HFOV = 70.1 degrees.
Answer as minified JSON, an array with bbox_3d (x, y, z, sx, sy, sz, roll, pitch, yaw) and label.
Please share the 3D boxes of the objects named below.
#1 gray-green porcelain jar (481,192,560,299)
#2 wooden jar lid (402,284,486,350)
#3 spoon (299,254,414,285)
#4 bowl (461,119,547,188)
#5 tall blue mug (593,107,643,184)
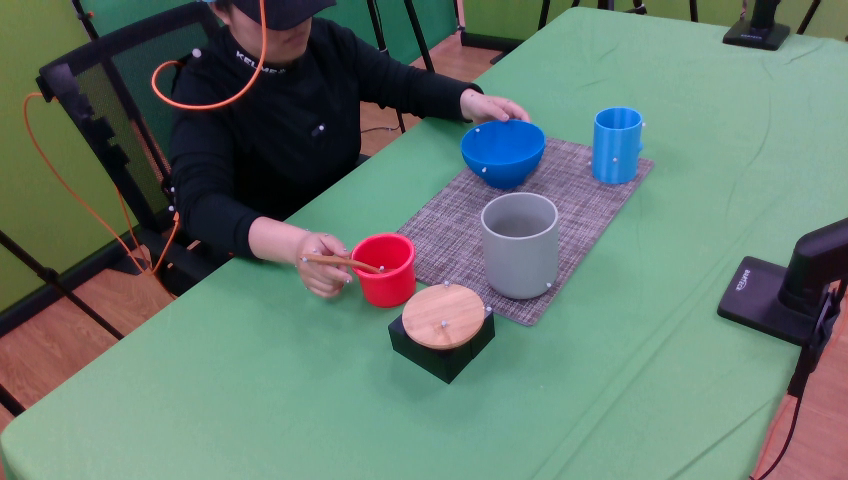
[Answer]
[{"bbox_3d":[0.138,0.012,0.858,0.106,0.127,0.105,-6,40,5],"label":"gray-green porcelain jar"},{"bbox_3d":[0.026,0.101,0.786,0.108,0.021,0.108,-5,39,4],"label":"wooden jar lid"},{"bbox_3d":[-0.092,0.038,0.865,0.195,0.021,0.041,18,23,-41],"label":"spoon"},{"bbox_3d":[0.144,-0.146,1.082,0.151,0.077,0.150,-6,40,5],"label":"bowl"},{"bbox_3d":[0.330,-0.172,1.052,0.078,0.108,0.106,-12,40,-1],"label":"tall blue mug"}]
